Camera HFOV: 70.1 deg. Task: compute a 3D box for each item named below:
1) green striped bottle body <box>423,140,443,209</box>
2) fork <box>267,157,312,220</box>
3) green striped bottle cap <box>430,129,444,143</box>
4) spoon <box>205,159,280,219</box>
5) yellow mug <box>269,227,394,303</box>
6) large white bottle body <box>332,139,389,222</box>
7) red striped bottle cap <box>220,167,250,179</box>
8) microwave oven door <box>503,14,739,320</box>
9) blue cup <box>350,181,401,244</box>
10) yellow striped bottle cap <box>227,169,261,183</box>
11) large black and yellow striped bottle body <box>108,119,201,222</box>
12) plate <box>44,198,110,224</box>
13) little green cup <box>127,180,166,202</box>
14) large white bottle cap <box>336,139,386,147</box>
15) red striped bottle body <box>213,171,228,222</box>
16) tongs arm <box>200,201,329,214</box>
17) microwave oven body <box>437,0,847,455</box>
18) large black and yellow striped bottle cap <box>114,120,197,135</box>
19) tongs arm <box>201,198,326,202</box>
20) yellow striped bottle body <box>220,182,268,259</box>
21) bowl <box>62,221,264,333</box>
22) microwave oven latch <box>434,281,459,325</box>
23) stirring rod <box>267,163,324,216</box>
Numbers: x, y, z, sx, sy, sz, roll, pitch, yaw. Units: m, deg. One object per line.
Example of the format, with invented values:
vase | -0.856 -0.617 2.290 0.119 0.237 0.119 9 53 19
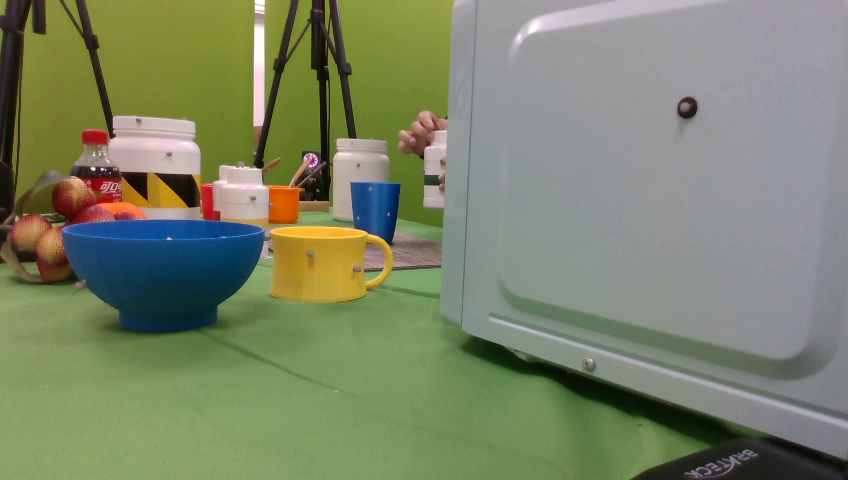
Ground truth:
green striped bottle body | 0.030 -0.110 0.964 0.063 0.119 0.063 1 6 0
fork | -0.289 -0.116 1.321 0.028 0.019 0.207 6 51 19
green striped bottle cap | 0.031 -0.163 0.956 0.044 0.020 0.044 1 4 0
spoon | -0.365 -0.103 1.214 0.193 0.021 0.041 -42 4 6
yellow mug | -0.094 0.023 0.629 0.131 0.064 0.099 0 6 -22
large white bottle body | -0.145 -0.136 1.387 0.131 0.184 0.130 2 7 0
red striped bottle cap | -0.281 -0.100 0.901 0.044 0.017 0.044 -1 5 0
microwave oven door | 0.218 -0.065 0.600 0.358 0.243 0.039 -4 10 -41
blue cup | -0.082 -0.047 1.009 0.093 0.100 0.092 1 6 0
yellow striped bottle cap | -0.243 -0.087 0.818 0.044 0.018 0.044 3 6 0
large black and yellow striped bottle body | -0.412 -0.088 0.930 0.131 0.184 0.130 3 7 0
plate | -0.617 -0.056 1.179 0.209 0.038 0.209 3 7 0
little green cup | -0.485 -0.086 1.061 0.061 0.038 0.061 1 7 0
large white bottle cap | -0.143 -0.219 1.375 0.115 0.018 0.115 2 8 0
red striped bottle body | -0.284 -0.048 0.909 0.063 0.119 0.063 3 12 0
tongs arm | -0.378 -0.079 1.440 0.387 0.026 0.050 -4 8 -44
microwave oven body | 0.279 -0.040 0.465 0.444 0.260 0.324 -3 9 -41
large black and yellow striped bottle cap | -0.407 -0.171 0.920 0.115 0.019 0.115 2 9 0
tongs arm | -0.433 -0.090 1.507 0.390 0.028 0.028 -1 2 -29
yellow striped bottle body | -0.246 -0.036 0.825 0.063 0.120 0.063 3 8 0
bowl | -0.209 0.029 0.496 0.151 0.077 0.151 2 7 0
microwave oven latch | 0.044 0.045 0.470 0.079 0.029 0.030 -2 8 -39
stirring rod | -0.278 -0.105 1.294 0.176 0.006 0.014 -47 26 -18
